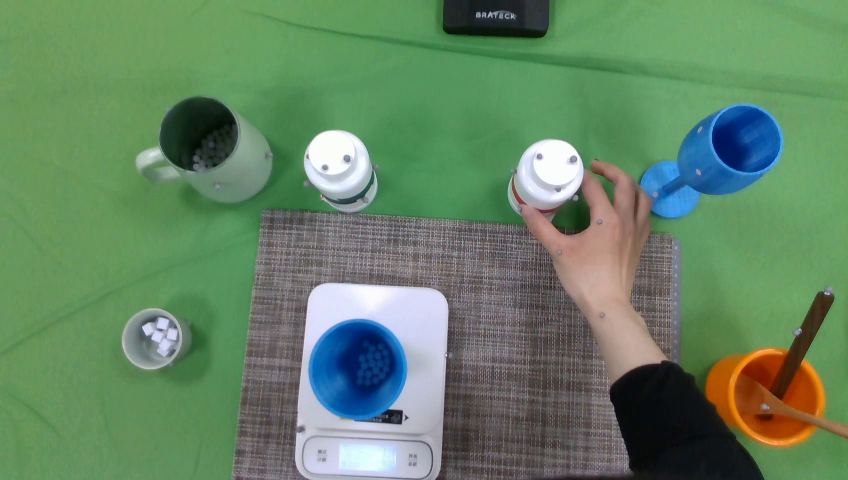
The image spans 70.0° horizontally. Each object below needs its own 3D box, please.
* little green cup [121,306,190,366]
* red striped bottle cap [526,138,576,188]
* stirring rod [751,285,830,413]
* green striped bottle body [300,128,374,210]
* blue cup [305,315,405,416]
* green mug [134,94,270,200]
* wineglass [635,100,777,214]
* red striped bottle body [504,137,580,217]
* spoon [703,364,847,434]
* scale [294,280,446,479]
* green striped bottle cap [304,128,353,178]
[{"bbox_3d":[-0.276,0.100,0.631,0.061,0.039,0.061,0,82,-1],"label":"little green cup"},{"bbox_3d":[0.118,-0.072,0.559,0.044,0.018,0.044,0,79,1],"label":"red striped bottle cap"},{"bbox_3d":[0.343,0.109,0.572,0.014,0.178,0.006,11,41,16],"label":"stirring rod"},{"bbox_3d":[-0.087,-0.073,0.615,0.063,0.119,0.063,0,81,1],"label":"green striped bottle body"},{"bbox_3d":[-0.059,0.111,0.563,0.093,0.100,0.092,0,84,-1],"label":"blue cup"},{"bbox_3d":[-0.231,-0.089,0.625,0.125,0.105,0.092,-18,82,-2],"label":"green mug"},{"bbox_3d":[0.264,-0.073,0.586,0.074,0.173,0.073,0,81,1],"label":"wineglass"},{"bbox_3d":[0.118,-0.064,0.613,0.063,0.120,0.063,0,82,0],"label":"red striped bottle body"},{"bbox_3d":[0.358,0.162,0.565,0.022,0.192,0.041,18,89,-40],"label":"spoon"},{"bbox_3d":[-0.055,0.143,0.624,0.149,0.031,0.200,3,82,1],"label":"scale"},{"bbox_3d":[-0.089,-0.081,0.563,0.044,0.020,0.044,0,81,0],"label":"green striped bottle cap"}]
